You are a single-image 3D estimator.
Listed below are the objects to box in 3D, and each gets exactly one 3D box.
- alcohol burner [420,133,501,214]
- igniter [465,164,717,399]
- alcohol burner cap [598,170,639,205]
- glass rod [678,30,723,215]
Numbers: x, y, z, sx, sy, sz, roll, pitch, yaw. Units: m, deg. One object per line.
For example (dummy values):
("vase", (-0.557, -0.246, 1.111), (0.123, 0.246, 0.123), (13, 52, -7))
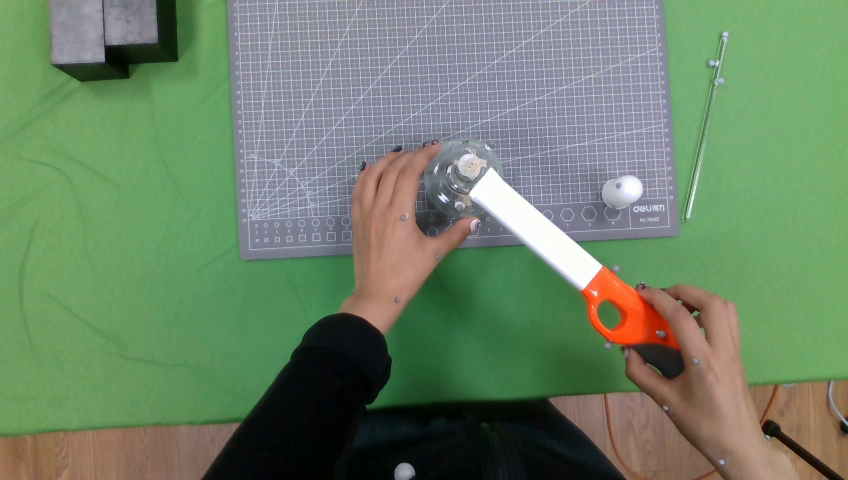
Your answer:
("alcohol burner", (0.036, -0.066, 0.567), (0.078, 0.119, 0.077), (0, 85, -2))
("igniter", (0.148, 0.037, 0.522), (0.277, 0.025, 0.057), (41, 86, -3))
("alcohol burner cap", (0.198, -0.054, 0.608), (0.034, 0.048, 0.034), (0, 86, -1))
("glass rod", (0.289, -0.123, 0.633), (0.008, 0.008, 0.199), (13, 88, -2))
